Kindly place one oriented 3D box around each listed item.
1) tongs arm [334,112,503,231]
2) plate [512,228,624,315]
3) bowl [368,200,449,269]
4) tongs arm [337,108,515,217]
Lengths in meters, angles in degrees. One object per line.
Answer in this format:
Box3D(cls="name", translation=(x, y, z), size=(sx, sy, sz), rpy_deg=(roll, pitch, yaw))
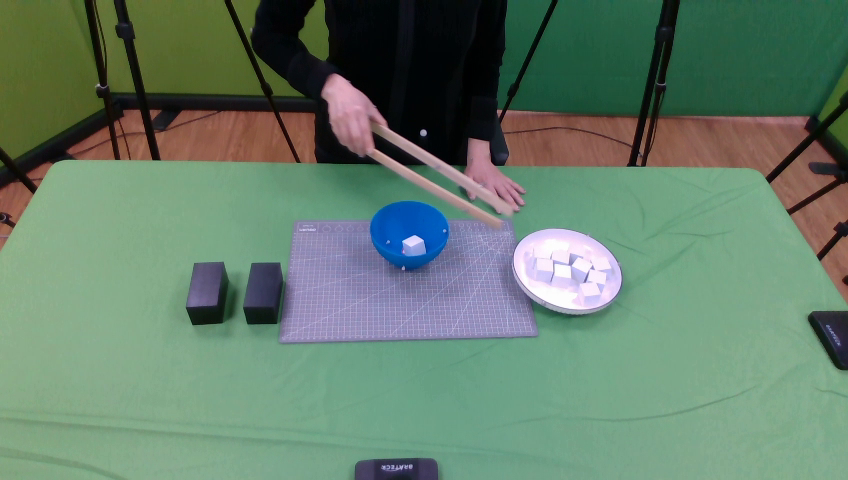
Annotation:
Box3D(cls="tongs arm", translation=(-0.021, -0.126, 1.095), size=(0.386, 0.028, 0.028), rpy_deg=(33, 60, 16))
Box3D(cls="plate", translation=(0.268, 0.063, 1.146), size=(0.208, 0.039, 0.206), rpy_deg=(3, 46, -3))
Box3D(cls="bowl", translation=(-0.030, 0.002, 1.151), size=(0.151, 0.077, 0.150), rpy_deg=(2, 46, -2))
Box3D(cls="tongs arm", translation=(-0.004, -0.143, 1.111), size=(0.383, 0.026, 0.050), rpy_deg=(36, 57, 17))
